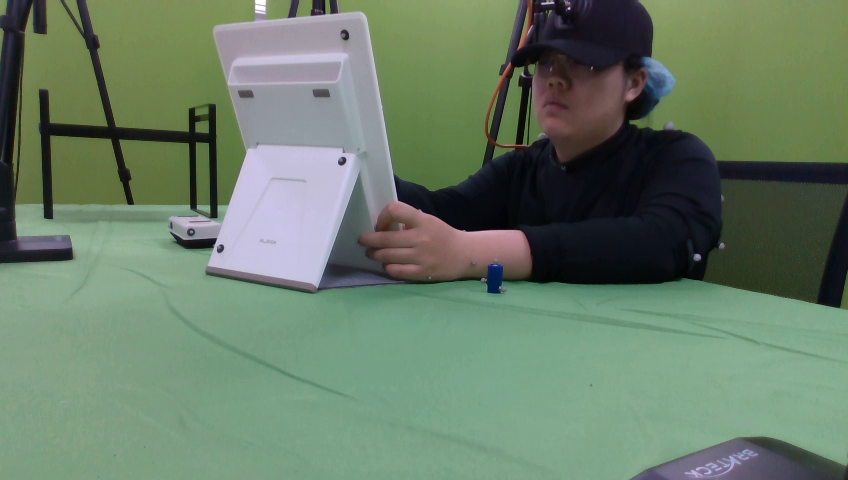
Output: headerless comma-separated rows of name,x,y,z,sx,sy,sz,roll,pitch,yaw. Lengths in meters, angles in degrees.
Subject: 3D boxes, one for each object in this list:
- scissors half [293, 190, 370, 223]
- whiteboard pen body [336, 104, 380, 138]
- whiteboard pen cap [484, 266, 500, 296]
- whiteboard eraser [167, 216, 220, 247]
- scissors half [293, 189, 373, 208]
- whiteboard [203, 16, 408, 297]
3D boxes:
scissors half,-0.205,-0.077,1.338,0.175,0.040,0.013,22,11,-8
whiteboard pen body,-0.082,-0.147,0.751,0.017,0.017,0.141,5,25,14
whiteboard pen cap,0.075,0.046,0.668,0.018,0.033,0.018,2,7,0
whiteboard eraser,-0.350,-0.013,0.920,0.056,0.042,0.112,0,7,-35
scissors half,-0.201,-0.096,1.332,0.175,0.040,0.013,5,18,-4
whiteboard,-0.166,-0.072,0.668,0.216,0.305,0.144,8,30,30
